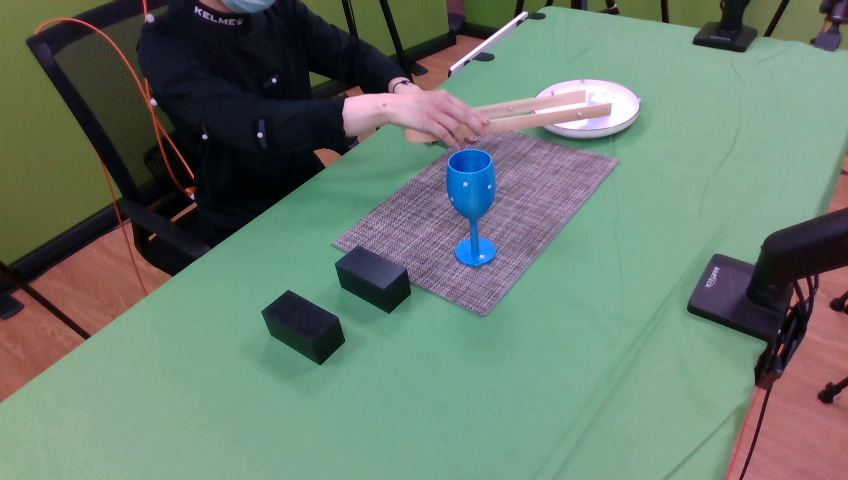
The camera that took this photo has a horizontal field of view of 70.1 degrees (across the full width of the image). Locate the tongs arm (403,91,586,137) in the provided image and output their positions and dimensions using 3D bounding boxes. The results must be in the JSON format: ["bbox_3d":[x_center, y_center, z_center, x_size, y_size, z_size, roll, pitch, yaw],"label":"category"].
[{"bbox_3d":[0.141,-0.234,1.112,0.386,0.026,0.050,-11,31,-16],"label":"tongs arm"}]

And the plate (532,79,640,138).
[{"bbox_3d":[0.322,-0.259,1.212,0.209,0.038,0.208,-4,40,4],"label":"plate"}]

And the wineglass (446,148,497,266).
[{"bbox_3d":[0.072,-0.045,0.889,0.074,0.173,0.073,-4,41,4],"label":"wineglass"}]

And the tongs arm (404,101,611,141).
[{"bbox_3d":[0.157,-0.213,1.073,0.389,0.028,0.028,-10,35,-13],"label":"tongs arm"}]
